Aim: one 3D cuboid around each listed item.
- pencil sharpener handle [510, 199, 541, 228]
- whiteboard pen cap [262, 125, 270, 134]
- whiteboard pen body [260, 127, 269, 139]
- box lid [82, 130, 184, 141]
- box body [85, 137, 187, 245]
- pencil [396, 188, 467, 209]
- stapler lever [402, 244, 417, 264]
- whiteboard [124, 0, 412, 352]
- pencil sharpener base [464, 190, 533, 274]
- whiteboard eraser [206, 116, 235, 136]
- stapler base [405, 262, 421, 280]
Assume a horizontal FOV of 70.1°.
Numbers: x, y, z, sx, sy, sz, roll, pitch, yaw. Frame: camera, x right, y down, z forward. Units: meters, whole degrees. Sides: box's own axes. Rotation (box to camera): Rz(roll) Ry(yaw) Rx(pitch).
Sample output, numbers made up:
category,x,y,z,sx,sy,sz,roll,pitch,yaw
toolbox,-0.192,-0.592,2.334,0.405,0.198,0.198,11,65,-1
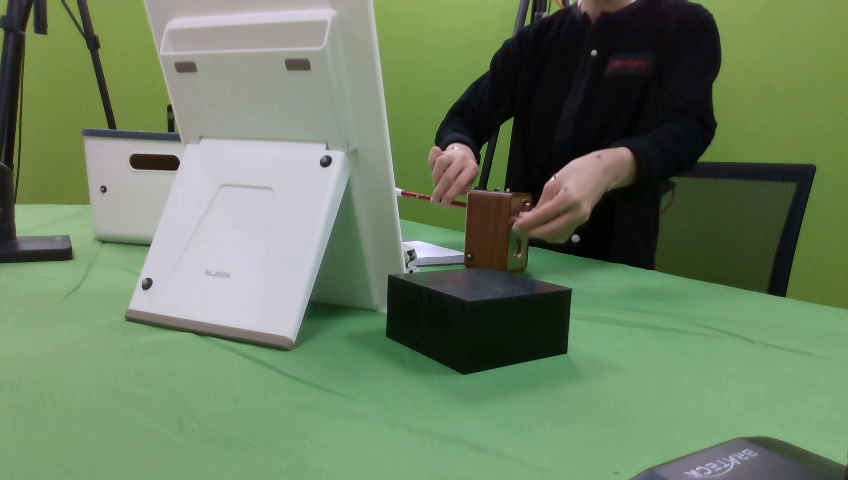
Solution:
category,x,y,z,sx,sy,sz,roll,pitch,yaw
pencil sharpener handle,0.135,-0.029,0.768,0.030,0.036,0.068,9,22,36
whiteboard pen cap,-0.349,-0.244,1.336,0.018,0.018,0.033,0,2,-17
whiteboard pen body,-0.366,-0.247,1.392,0.017,0.017,0.140,0,3,-17
box lid,-0.337,-0.161,1.011,0.263,0.015,0.372,4,6,11
box body,-0.340,-0.088,1.022,0.254,0.160,0.364,4,7,11
pencil,0.020,-0.057,0.875,0.193,0.012,0.012,15,14,37
stapler lever,-0.066,0.003,0.755,0.117,0.040,0.027,9,13,23
whiteboard,-0.151,-0.049,0.472,0.216,0.305,0.144,6,27,24
pencil sharpener base,0.102,-0.012,0.813,0.076,0.107,0.061,9,9,36
whiteboard eraser,-0.450,-0.252,1.335,0.056,0.042,0.112,1,7,-22
stapler base,-0.069,0.027,0.759,0.130,0.024,0.041,9,13,23
